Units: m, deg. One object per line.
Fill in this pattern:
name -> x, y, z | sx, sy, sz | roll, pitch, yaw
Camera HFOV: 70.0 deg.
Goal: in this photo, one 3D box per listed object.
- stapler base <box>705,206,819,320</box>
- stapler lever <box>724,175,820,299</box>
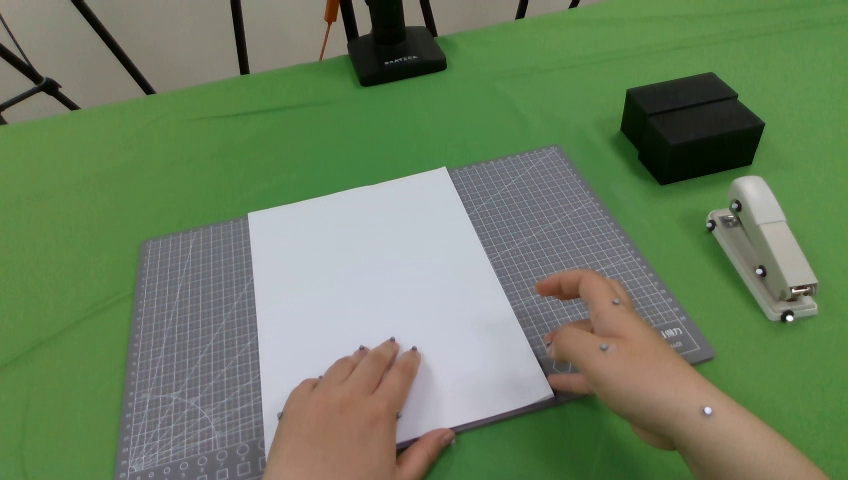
stapler base -> 0.287, 0.010, 0.519 | 0.041, 0.025, 0.129 | -10, 46, 0
stapler lever -> 0.285, -0.007, 0.500 | 0.027, 0.040, 0.117 | -10, 46, 1
